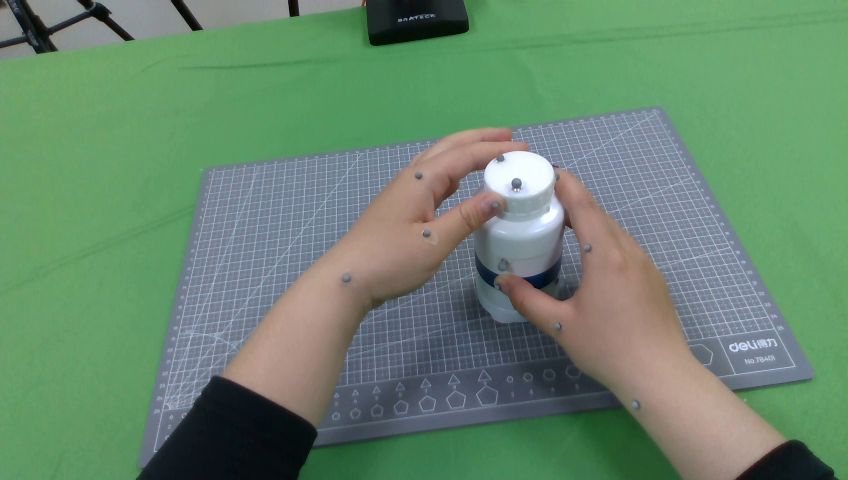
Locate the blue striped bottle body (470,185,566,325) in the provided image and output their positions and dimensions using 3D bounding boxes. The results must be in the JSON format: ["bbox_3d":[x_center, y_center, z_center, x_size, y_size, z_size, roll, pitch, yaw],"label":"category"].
[{"bbox_3d":[0.065,0.001,0.418,0.063,0.122,0.062,-4,49,5],"label":"blue striped bottle body"}]

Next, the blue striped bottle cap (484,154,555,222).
[{"bbox_3d":[0.060,-0.033,0.379,0.044,0.021,0.044,-4,49,5],"label":"blue striped bottle cap"}]
